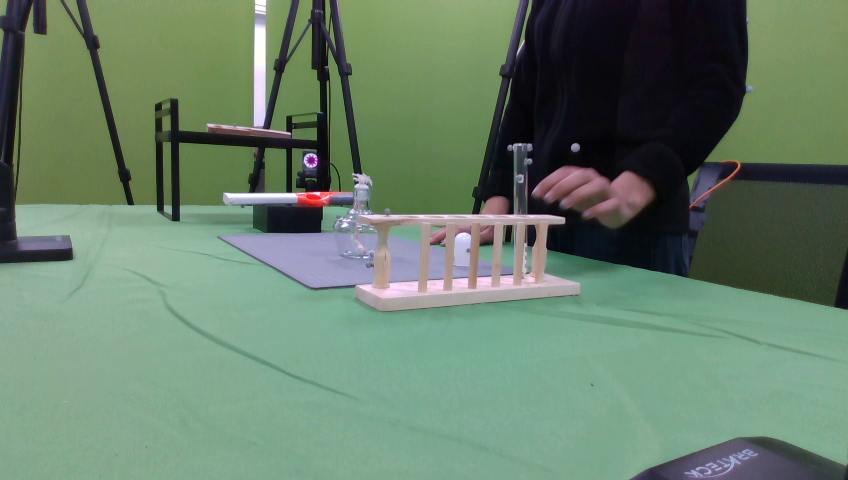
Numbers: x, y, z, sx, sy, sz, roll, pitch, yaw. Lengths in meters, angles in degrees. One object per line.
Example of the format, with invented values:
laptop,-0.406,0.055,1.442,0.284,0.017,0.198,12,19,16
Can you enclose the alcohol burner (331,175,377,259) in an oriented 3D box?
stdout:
alcohol burner,-0.091,-0.033,0.855,0.078,0.119,0.078,4,7,0

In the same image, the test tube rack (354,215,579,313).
test tube rack,0.053,0.019,0.635,0.243,0.085,0.066,-1,8,-29

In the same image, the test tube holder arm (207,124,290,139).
test tube holder arm,-0.381,-0.238,1.327,0.179,0.015,0.013,0,42,-32

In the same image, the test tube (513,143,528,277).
test tube,0.108,-0.033,0.677,0.017,0.150,0.017,-1,8,1

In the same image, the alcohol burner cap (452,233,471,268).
alcohol burner cap,0.053,0.014,0.823,0.034,0.048,0.034,3,6,0

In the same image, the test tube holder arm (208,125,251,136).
test tube holder arm,-0.418,-0.234,1.299,0.088,0.015,0.010,1,41,-32

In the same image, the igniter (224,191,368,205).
igniter,-0.237,-0.079,1.157,0.278,0.025,0.057,-2,21,-32
